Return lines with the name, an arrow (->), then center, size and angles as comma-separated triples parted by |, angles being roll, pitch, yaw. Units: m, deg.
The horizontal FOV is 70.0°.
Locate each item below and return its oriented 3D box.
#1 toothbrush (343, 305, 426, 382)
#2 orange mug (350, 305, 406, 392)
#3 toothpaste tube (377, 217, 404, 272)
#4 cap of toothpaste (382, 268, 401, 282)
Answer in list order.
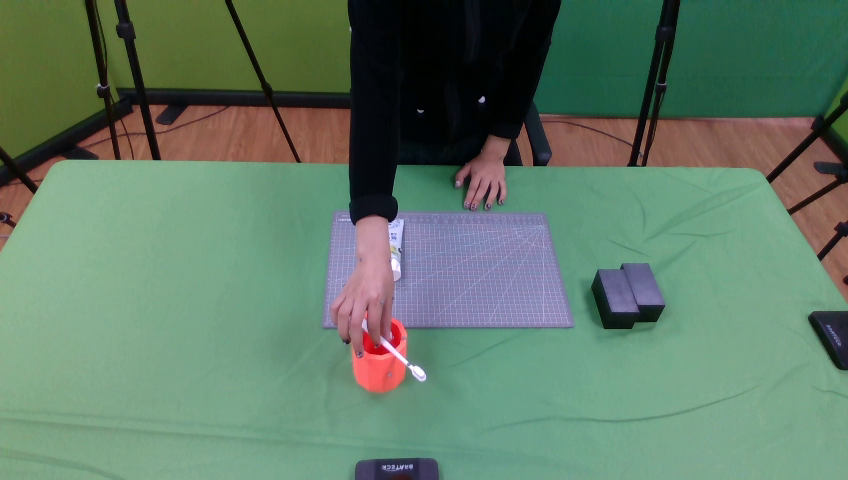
toothbrush -> -0.064, 0.153, 0.921 | 0.181, 0.017, 0.014 | 37, 69, 28
orange mug -> -0.080, 0.168, 0.978 | 0.083, 0.101, 0.125 | -16, 54, -18
toothpaste tube -> -0.063, 0.008, 1.179 | 0.055, 0.034, 0.164 | 5, 42, -9
cap of toothpaste -> -0.060, 0.063, 1.119 | 0.037, 0.037, 0.011 | -9, 50, -12
